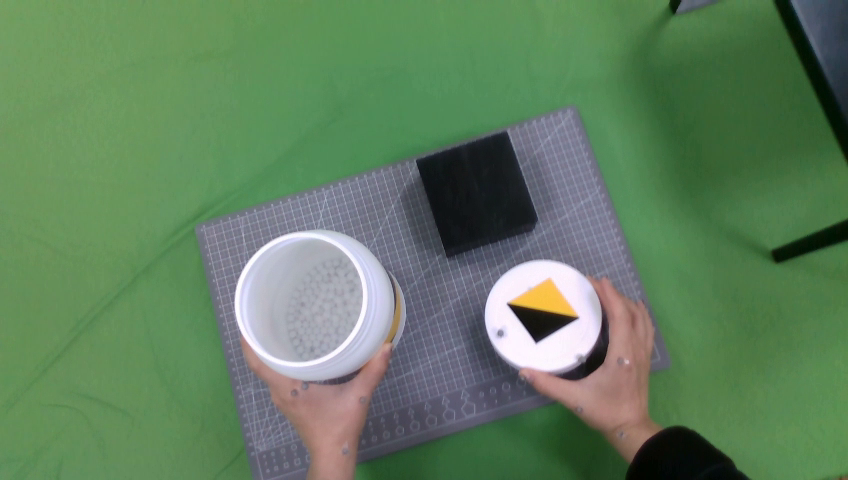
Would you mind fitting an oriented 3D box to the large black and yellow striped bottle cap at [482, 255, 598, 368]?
[{"bbox_3d":[0.114,0.070,0.602,0.115,0.019,0.114,-5,64,10],"label":"large black and yellow striped bottle cap"}]

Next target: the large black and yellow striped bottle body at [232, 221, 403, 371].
[{"bbox_3d":[-0.093,0.056,0.567,0.131,0.185,0.130,-1,80,4],"label":"large black and yellow striped bottle body"}]
